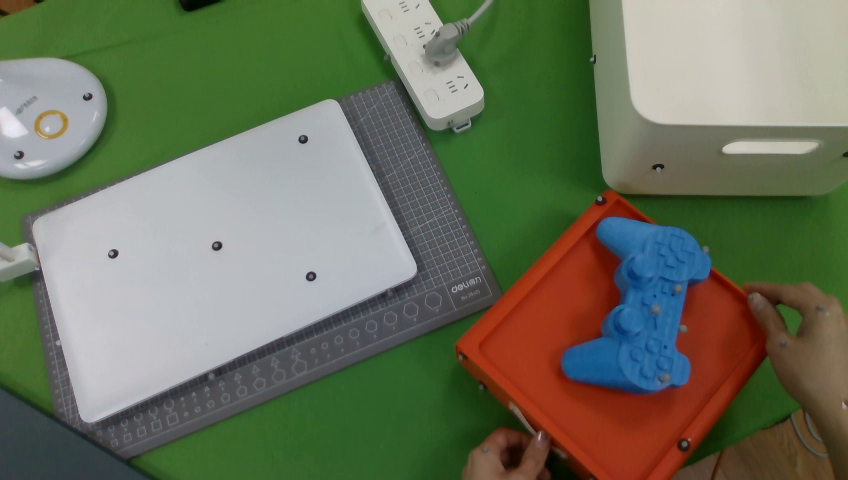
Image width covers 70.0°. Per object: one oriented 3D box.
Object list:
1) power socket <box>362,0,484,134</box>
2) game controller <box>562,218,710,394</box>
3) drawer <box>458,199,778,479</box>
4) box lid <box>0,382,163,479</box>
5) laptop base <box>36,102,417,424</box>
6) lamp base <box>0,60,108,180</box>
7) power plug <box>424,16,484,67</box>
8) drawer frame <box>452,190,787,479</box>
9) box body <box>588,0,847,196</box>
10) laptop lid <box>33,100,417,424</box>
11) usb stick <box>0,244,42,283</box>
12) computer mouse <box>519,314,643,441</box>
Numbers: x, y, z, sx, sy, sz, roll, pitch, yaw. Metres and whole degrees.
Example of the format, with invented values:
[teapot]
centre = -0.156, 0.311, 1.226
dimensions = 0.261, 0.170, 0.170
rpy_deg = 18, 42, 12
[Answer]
[power socket]
centre = -0.004, -0.222, 0.712
dimensions = 0.072, 0.033, 0.225
rpy_deg = -24, 69, -8
[game controller]
centre = 0.183, 0.055, 0.514
dimensions = 0.097, 0.052, 0.154
rpy_deg = 18, 72, 7
[drawer]
centre = 0.170, 0.099, 0.553
dimensions = 0.193, 0.074, 0.211
rpy_deg = 42, 76, 17
[box lid]
centre = -0.376, 0.299, 0.541
dimensions = 0.370, 0.015, 0.262
rpy_deg = 25, 72, 11
[laptop base]
centre = -0.210, 0.011, 0.639
dimensions = 0.354, 0.023, 0.234
rpy_deg = -24, 73, -6
[lamp base]
centre = -0.466, -0.176, 0.639
dimensions = 0.178, 0.181, 0.160
rpy_deg = 24, 71, 15
[power plug]
centre = 0.036, -0.216, 0.683
dimensions = 0.072, 0.053, 0.035
rpy_deg = -14, 67, -4
[drawer frame]
centre = 0.169, 0.097, 0.553
dimensions = 0.200, 0.083, 0.213
rpy_deg = 42, 76, 17
[box body]
centre = 0.310, -0.231, 0.629
dimensions = 0.254, 0.161, 0.361
rpy_deg = 1, 69, 3
[laptop lid]
centre = -0.210, 0.009, 0.627
dimensions = 0.357, 0.013, 0.240
rpy_deg = -23, 72, -6
[usb stick]
centre = -0.418, 0.022, 0.632
dimensions = 0.059, 0.027, 0.021
rpy_deg = -21, 64, -8
[computer mouse]
centre = 0.144, 0.124, 0.561
dimensions = 0.063, 0.041, 0.116
rpy_deg = -37, 68, -8
